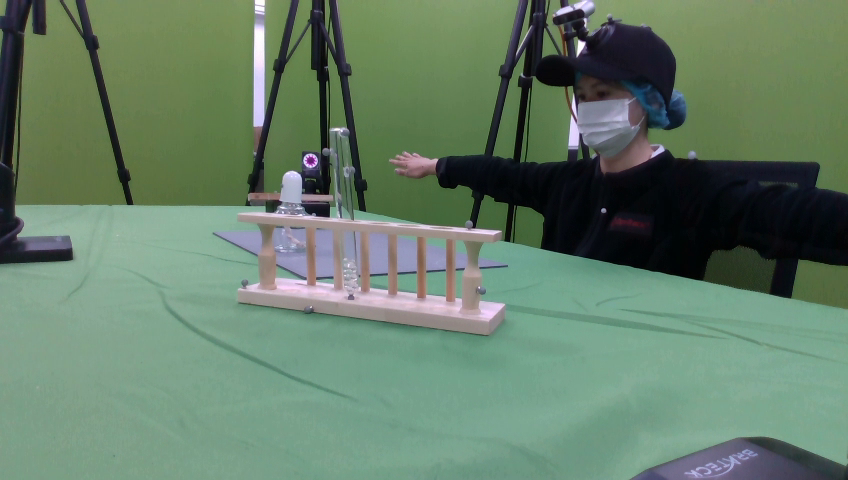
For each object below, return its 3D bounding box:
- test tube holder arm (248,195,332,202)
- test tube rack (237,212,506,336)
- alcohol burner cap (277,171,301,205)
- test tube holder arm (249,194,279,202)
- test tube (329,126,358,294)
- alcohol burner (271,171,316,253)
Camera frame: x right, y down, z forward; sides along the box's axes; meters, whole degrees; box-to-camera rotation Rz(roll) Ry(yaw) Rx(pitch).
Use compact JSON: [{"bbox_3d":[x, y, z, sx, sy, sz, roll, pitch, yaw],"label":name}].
[{"bbox_3d":[-0.269,-0.085,1.228,0.179,0.015,0.013,-2,1,-37],"label":"test tube holder arm"},{"bbox_3d":[-0.049,0.024,0.552,0.242,0.085,0.067,5,8,18],"label":"test tube rack"},{"bbox_3d":[-0.195,-0.077,0.880,0.034,0.048,0.034,7,7,0],"label":"alcohol burner cap"},{"bbox_3d":[-0.302,-0.084,1.197,0.088,0.015,0.010,-2,1,-37],"label":"test tube holder arm"},{"bbox_3d":[-0.071,-0.025,0.534,0.017,0.150,0.017,-3,10,1],"label":"test tube"},{"bbox_3d":[-0.196,-0.041,0.884,0.078,0.119,0.078,3,5,0],"label":"alcohol burner"}]
